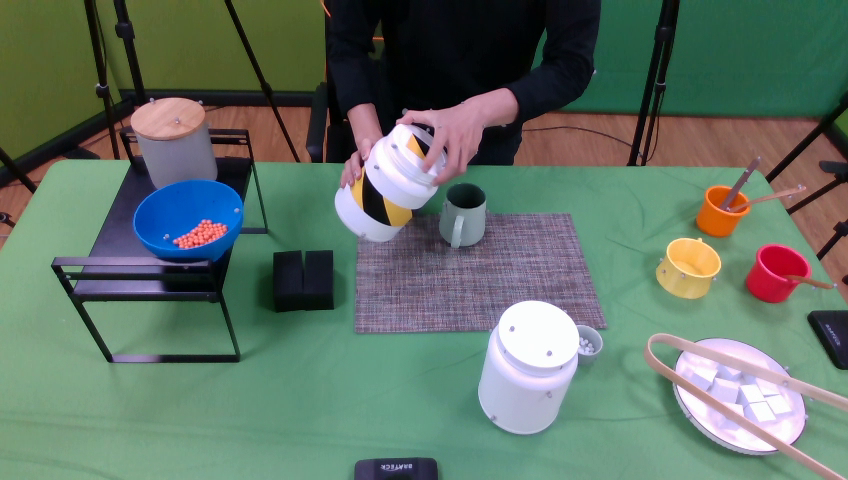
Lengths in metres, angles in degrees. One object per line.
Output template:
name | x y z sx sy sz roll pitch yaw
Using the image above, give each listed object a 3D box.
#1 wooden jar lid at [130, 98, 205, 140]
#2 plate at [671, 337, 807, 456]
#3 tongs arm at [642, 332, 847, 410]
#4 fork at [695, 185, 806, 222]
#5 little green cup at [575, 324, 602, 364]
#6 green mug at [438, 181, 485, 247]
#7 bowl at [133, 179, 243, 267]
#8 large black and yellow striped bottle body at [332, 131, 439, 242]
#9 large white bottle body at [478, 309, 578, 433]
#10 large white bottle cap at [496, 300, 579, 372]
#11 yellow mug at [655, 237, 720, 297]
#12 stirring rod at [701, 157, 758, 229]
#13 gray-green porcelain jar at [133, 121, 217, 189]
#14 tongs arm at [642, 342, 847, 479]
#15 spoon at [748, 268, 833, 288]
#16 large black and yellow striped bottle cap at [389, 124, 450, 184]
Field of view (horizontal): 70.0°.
wooden jar lid | -0.393 -0.183 0.934 0.108 0.021 0.107 3 43 -2
plate | 0.504 0.254 0.984 0.208 0.039 0.206 2 46 -2
tongs arm | 0.546 0.227 0.968 0.384 0.026 0.050 22 52 13
fork | 0.658 -0.074 1.230 0.207 0.019 0.028 -23 36 37
little green cup | 0.269 0.180 1.036 0.061 0.039 0.061 2 45 -2
green mug | 0.071 -0.039 1.177 0.092 0.105 0.124 12 47 7
bowl | -0.339 -0.013 0.895 0.151 0.077 0.150 2 46 -2
large black and yellow striped bottle body | -0.058 -0.097 1.047 0.131 0.184 0.130 30 38 -26
large white bottle body | 0.156 0.192 0.913 0.131 0.185 0.130 2 46 -2
large white bottle cap | 0.160 0.133 0.852 0.115 0.018 0.114 3 46 -2
yellow mug | 0.509 0.041 1.167 0.099 0.064 0.130 24 48 18
stirring rod | 0.634 -0.097 1.257 0.014 0.006 0.176 38 97 29
gray-green porcelain jar | -0.397 -0.141 0.979 0.106 0.127 0.105 2 47 -2
tongs arm | 0.504 0.279 0.918 0.386 0.028 0.028 33 59 22
spoon | 0.660 0.068 1.097 0.041 0.193 0.021 -4 91 -6
large black and yellow striped bottle cap | -0.006 -0.143 0.999 0.115 0.019 0.114 28 39 -25
